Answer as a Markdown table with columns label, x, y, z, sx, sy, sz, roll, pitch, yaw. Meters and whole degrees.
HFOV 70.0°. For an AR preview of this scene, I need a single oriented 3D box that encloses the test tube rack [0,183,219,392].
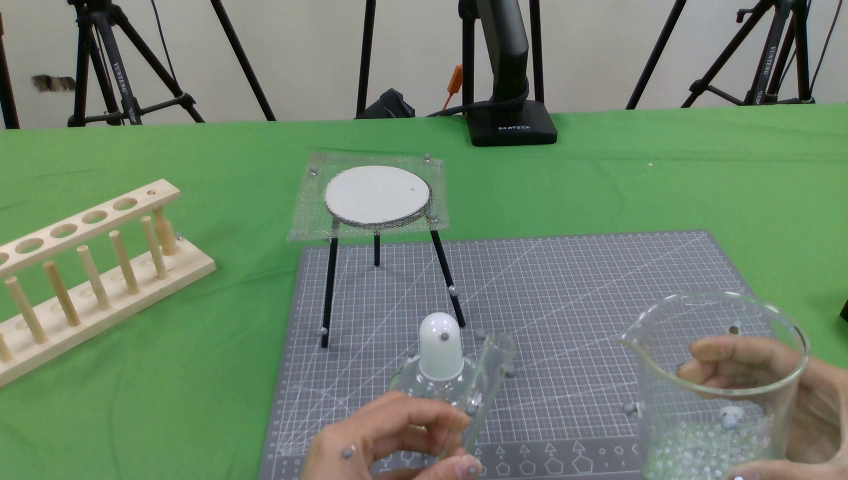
| label | x | y | z | sx | sy | sz | roll | pitch | yaw |
| --- | --- | --- | --- | --- | --- | --- | --- | --- | --- |
| test tube rack | -0.320 | 0.041 | 0.553 | 0.066 | 0.086 | 0.242 | 29 | 46 | 34 |

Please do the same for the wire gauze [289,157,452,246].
| label | x | y | z | sx | sy | sz | roll | pitch | yaw |
| --- | --- | --- | --- | --- | --- | --- | --- | --- | --- |
| wire gauze | -0.041 | -0.036 | 0.495 | 0.121 | 0.011 | 0.124 | 0 | 37 | -1 |

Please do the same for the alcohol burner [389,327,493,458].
| label | x | y | z | sx | sy | sz | roll | pitch | yaw |
| --- | --- | --- | --- | --- | --- | --- | --- | --- | --- |
| alcohol burner | 0.013 | 0.102 | 0.438 | 0.078 | 0.120 | 0.077 | 0 | 39 | 0 |

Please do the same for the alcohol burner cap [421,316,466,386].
| label | x | y | z | sx | sy | sz | roll | pitch | yaw |
| --- | --- | --- | --- | --- | --- | --- | --- | --- | --- |
| alcohol burner cap | 0.013 | 0.073 | 0.416 | 0.034 | 0.048 | 0.033 | -2 | 37 | 2 |

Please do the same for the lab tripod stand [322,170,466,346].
| label | x | y | z | sx | sy | sz | roll | pitch | yaw |
| --- | --- | --- | --- | --- | --- | --- | --- | --- | --- |
| lab tripod stand | -0.031 | 0.016 | 0.537 | 0.148 | 0.132 | 0.147 | 1 | 36 | 0 |

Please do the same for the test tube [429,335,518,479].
| label | x | y | z | sx | sy | sz | roll | pitch | yaw |
| --- | --- | --- | --- | --- | --- | --- | --- | --- | --- |
| test tube | 0.019 | 0.113 | 0.329 | 0.017 | 0.151 | 0.017 | 15 | 28 | -7 |

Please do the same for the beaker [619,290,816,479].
| label | x | y | z | sx | sy | sz | roll | pitch | yaw |
| --- | --- | --- | --- | --- | --- | --- | --- | --- | --- |
| beaker | 0.142 | 0.087 | 0.305 | 0.083 | 0.101 | 0.073 | 2 | 31 | 22 |
